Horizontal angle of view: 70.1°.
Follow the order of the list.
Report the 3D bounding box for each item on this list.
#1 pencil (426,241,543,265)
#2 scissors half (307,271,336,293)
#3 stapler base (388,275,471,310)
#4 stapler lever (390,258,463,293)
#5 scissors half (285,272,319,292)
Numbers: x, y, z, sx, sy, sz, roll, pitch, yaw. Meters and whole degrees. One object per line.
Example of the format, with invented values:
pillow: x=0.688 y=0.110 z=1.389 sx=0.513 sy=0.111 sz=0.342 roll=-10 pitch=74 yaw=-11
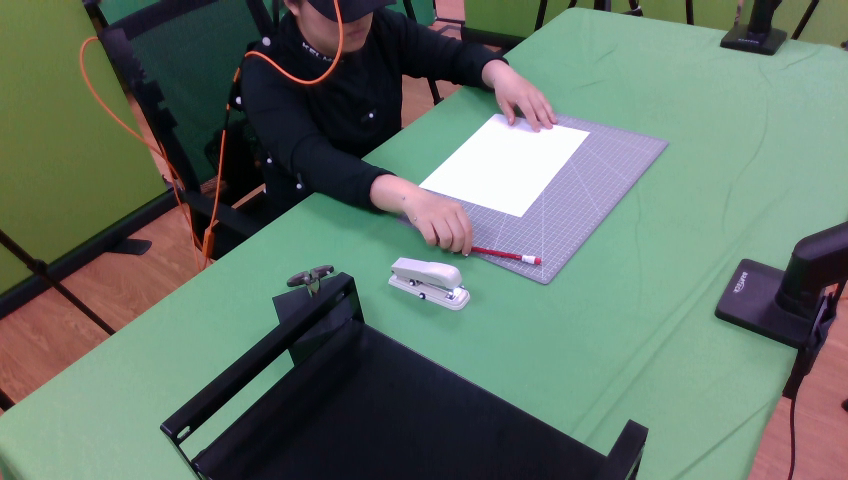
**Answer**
pencil: x=0.091 y=0.018 z=0.946 sx=0.193 sy=0.012 sz=0.012 roll=10 pitch=43 yaw=21
scissors half: x=-0.152 y=0.061 z=0.872 sx=0.040 sy=0.013 sz=0.175 roll=-3 pitch=6 yaw=-4
stapler base: x=0.007 y=0.066 z=0.897 sx=0.129 sy=0.024 sz=0.041 roll=17 pitch=43 yaw=29
stapler lever: x=0.003 y=0.047 z=0.881 sx=0.117 sy=0.040 sz=0.027 roll=17 pitch=43 yaw=29
scissors half: x=-0.171 y=0.063 z=0.868 sx=0.040 sy=0.013 sz=0.174 roll=-10 pitch=7 yaw=-21
